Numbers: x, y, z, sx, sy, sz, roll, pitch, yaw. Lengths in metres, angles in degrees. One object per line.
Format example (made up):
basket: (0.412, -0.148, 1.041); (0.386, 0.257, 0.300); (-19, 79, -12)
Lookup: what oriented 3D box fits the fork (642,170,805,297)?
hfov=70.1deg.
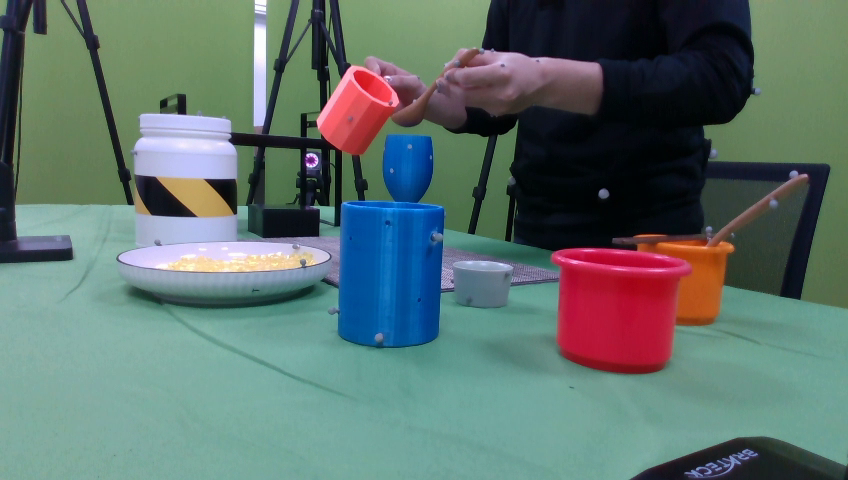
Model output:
fork: (0.261, 0.003, 0.545); (0.028, 0.018, 0.207); (6, -37, -15)

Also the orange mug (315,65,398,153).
orange mug: (-0.096, -0.202, 0.907); (0.083, 0.100, 0.126); (35, 36, -9)

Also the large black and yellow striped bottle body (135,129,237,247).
large black and yellow striped bottle body: (-0.327, -0.074, 0.838); (0.131, 0.184, 0.130); (2, 7, 0)

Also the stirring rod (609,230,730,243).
stirring rod: (0.241, -0.004, 0.582); (0.177, 0.006, 0.014); (-3, 10, -33)

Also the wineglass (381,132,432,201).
wineglass: (-0.026, -0.062, 0.841); (0.074, 0.172, 0.073); (2, 7, 0)

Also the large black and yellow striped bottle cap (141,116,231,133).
large black and yellow striped bottle cap: (-0.324, -0.157, 0.826); (0.115, 0.019, 0.115); (1, 7, 0)

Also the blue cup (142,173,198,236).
blue cup: (-0.425, -0.060, 1.014); (0.093, 0.100, 0.092); (4, 9, 0)

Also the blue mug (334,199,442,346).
blue mug: (-0.034, 0.020, 0.498); (0.083, 0.106, 0.116); (0, 7, -20)

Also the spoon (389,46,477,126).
spoon: (0.009, -0.192, 0.767); (0.042, 0.021, 0.193); (13, -27, -26)

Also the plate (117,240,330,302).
plate: (-0.203, 0.031, 0.630); (0.209, 0.038, 0.209); (3, 7, 0)

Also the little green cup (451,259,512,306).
little green cup: (0.057, 0.043, 0.612); (0.061, 0.038, 0.061); (3, 8, 0)
